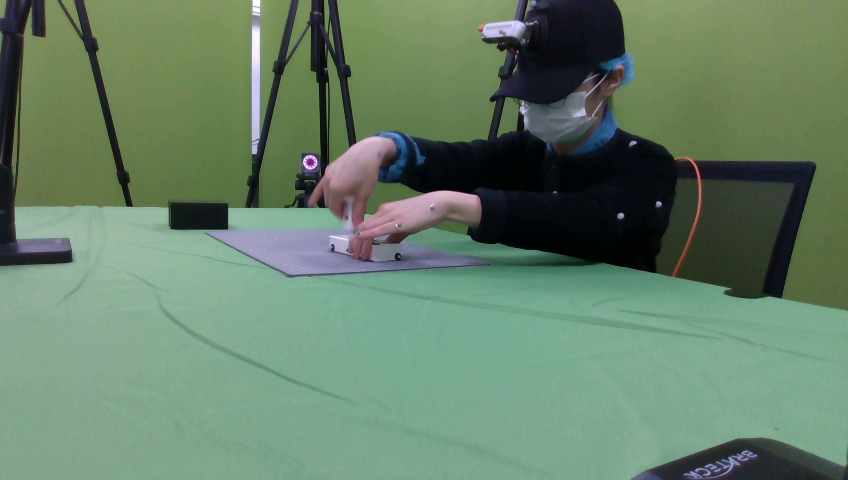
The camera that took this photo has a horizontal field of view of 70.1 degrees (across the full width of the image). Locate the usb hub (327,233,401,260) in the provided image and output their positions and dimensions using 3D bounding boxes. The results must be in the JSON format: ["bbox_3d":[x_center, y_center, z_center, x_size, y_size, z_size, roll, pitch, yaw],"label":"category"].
[{"bbox_3d":[-0.092,0.008,0.892,0.050,0.025,0.124,-4,9,-41],"label":"usb hub"}]

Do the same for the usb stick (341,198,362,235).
[{"bbox_3d":[-0.110,-0.034,0.914,0.027,0.059,0.021,-6,7,-38],"label":"usb stick"}]
